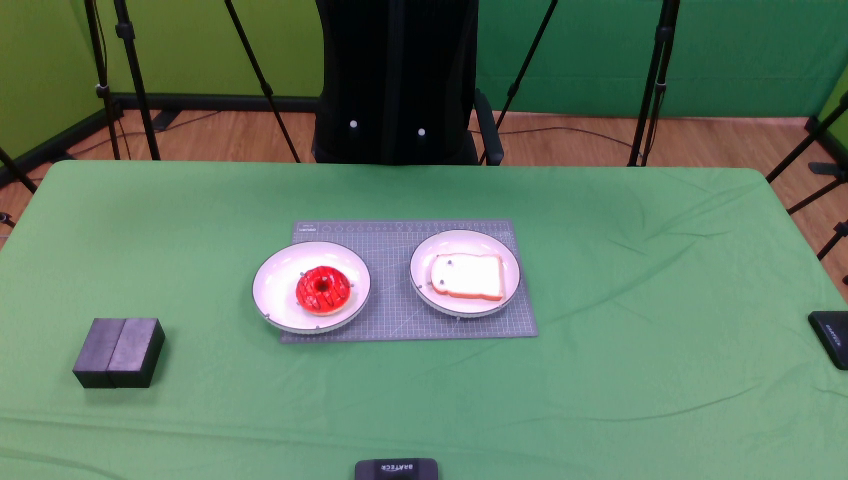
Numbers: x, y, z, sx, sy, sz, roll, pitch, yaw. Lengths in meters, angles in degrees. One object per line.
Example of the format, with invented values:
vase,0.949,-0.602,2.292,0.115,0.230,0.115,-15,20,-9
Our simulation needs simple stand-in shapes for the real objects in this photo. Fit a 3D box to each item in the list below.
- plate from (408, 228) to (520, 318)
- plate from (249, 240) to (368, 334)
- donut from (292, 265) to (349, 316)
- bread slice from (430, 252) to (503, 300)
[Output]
plate,0.074,0.063,1.128,0.209,0.038,0.208,2,46,-2
plate,-0.204,0.086,1.084,0.208,0.039,0.206,2,46,-2
donut,-0.182,0.089,1.067,0.099,0.048,0.098,3,50,-4
bread slice,0.078,0.067,1.125,0.134,0.018,0.106,1,45,-3
